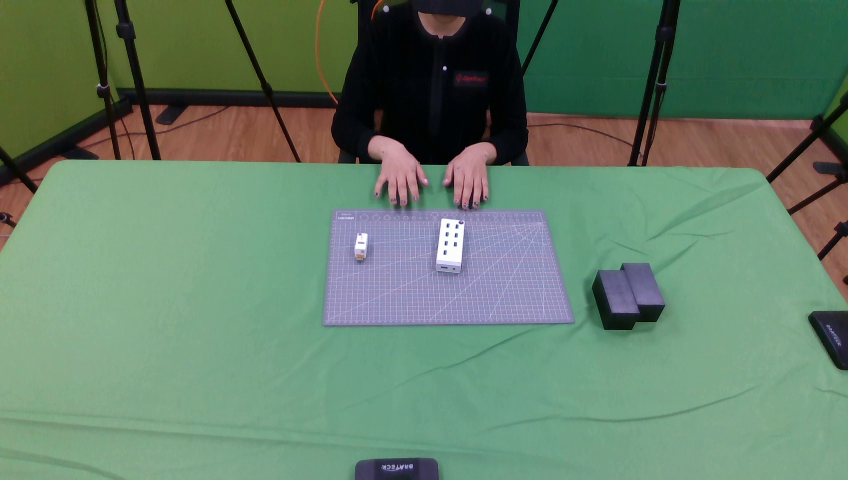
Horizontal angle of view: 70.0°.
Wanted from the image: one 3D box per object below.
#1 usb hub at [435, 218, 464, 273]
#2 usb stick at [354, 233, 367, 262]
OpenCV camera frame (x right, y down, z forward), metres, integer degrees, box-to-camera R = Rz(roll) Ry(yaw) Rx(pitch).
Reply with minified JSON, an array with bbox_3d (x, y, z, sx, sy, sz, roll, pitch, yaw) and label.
[{"bbox_3d":[0.052,0.009,1.188,0.049,0.025,0.124,7,46,2],"label":"usb hub"},{"bbox_3d":[-0.123,0.015,1.168,0.021,0.027,0.059,5,49,-1],"label":"usb stick"}]
